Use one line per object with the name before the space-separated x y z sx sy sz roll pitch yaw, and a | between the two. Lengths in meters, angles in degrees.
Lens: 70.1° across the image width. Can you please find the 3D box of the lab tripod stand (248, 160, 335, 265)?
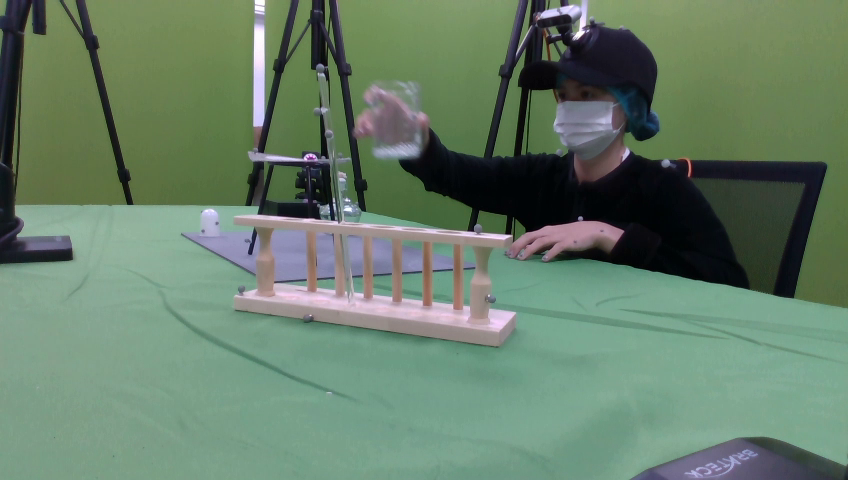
lab tripod stand | -0.165 -0.041 0.817 0.148 0.131 0.148 5 7 0

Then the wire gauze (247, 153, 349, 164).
wire gauze | -0.170 -0.106 0.802 0.122 0.011 0.124 1 8 -20

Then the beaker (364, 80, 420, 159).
beaker | -0.041 -0.166 0.842 0.074 0.100 0.083 -4 4 -27

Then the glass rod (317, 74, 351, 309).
glass rod | -0.075 -0.036 0.502 0.008 0.199 0.008 -5 8 1

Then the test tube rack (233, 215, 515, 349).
test tube rack | -0.045 0.029 0.526 0.241 0.085 0.067 5 8 19

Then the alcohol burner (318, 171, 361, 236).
alcohol burner | -0.155 -0.067 1.104 0.078 0.119 0.078 1 8 0

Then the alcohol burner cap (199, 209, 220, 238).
alcohol burner cap | -0.356 -0.027 1.002 0.034 0.048 0.034 2 7 0
